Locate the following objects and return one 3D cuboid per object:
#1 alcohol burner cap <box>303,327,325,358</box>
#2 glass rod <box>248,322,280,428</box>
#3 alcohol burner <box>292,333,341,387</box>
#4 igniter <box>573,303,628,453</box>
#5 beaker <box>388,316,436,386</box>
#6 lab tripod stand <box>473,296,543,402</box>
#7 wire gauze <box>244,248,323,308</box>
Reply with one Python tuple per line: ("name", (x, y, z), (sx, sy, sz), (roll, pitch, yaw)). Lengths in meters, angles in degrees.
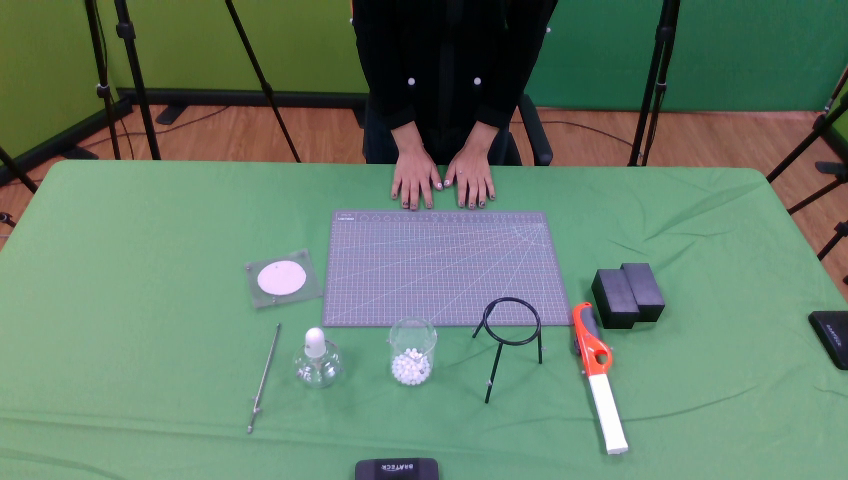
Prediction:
("alcohol burner cap", (-0.169, 0.154, 0.925), (0.034, 0.048, 0.033), (4, 41, -3))
("glass rod", (-0.258, 0.213, 0.984), (0.008, 0.008, 0.198), (4, 46, 0))
("alcohol burner", (-0.170, 0.179, 0.950), (0.078, 0.120, 0.077), (2, 48, -2))
("igniter", (0.288, 0.216, 1.006), (0.057, 0.025, 0.274), (-10, 46, 8))
("beaker", (-0.019, 0.183, 0.968), (0.074, 0.101, 0.083), (-7, 48, -10))
("lab tripod stand", (0.132, 0.168, 0.969), (0.148, 0.132, 0.147), (3, 48, -3))
("wire gauze", (-0.262, 0.071, 1.121), (0.125, 0.011, 0.120), (-11, 48, -17))
